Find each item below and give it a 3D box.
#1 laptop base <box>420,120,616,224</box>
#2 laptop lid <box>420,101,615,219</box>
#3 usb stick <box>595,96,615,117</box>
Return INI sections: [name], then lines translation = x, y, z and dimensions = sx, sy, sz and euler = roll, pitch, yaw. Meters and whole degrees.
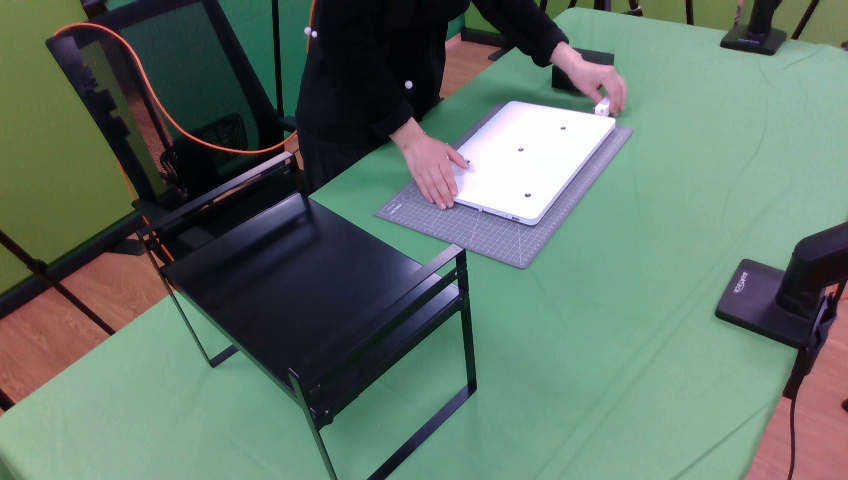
[laptop base]
translation = 0.184, -0.156, 1.132
dimensions = 0.234, 0.023, 0.355
euler = 17, 46, 31
[laptop lid]
translation = 0.180, -0.166, 1.125
dimensions = 0.240, 0.013, 0.357
euler = 20, 47, 31
[usb stick]
translation = 0.358, -0.260, 1.204
dimensions = 0.021, 0.027, 0.059
euler = 19, 57, 37
